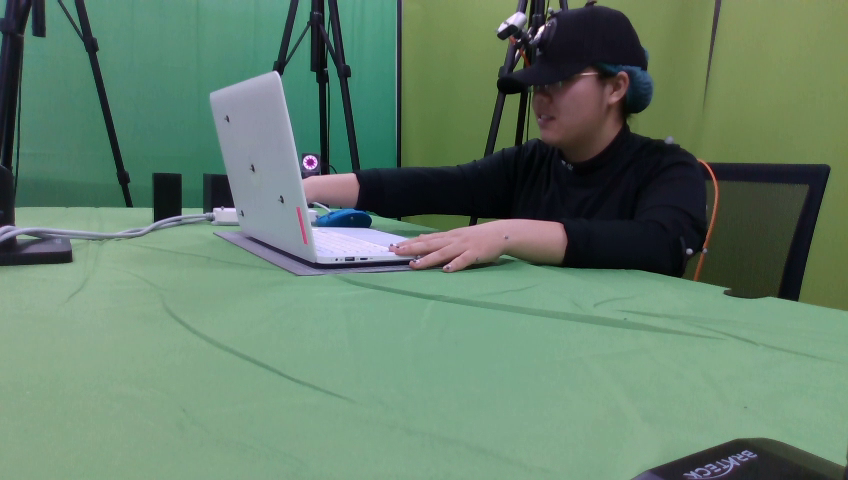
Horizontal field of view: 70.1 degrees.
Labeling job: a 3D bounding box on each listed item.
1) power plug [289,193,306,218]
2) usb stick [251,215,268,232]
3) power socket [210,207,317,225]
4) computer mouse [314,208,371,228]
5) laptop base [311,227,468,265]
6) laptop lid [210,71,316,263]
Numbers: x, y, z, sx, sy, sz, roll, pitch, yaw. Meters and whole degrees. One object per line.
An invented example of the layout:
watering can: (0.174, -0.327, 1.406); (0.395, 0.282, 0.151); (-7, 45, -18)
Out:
power plug: (-0.281, -0.077, 1.340); (0.035, 0.052, 0.072); (2, 7, -17)
usb stick: (-0.289, -0.028, 1.070); (0.021, 0.027, 0.059); (1, 10, -28)
power socket: (-0.335, -0.051, 1.281); (0.228, 0.032, 0.072); (-1, 8, -28)
computer mouse: (-0.173, -0.047, 1.285); (0.118, 0.041, 0.062); (-7, 12, -30)
laptop base: (-0.123, 0.007, 0.951); (0.237, 0.023, 0.352); (2, 6, -32)
laptop lid: (-0.241, -0.104, 0.861); (0.013, 0.241, 0.355); (-16, 17, -29)
